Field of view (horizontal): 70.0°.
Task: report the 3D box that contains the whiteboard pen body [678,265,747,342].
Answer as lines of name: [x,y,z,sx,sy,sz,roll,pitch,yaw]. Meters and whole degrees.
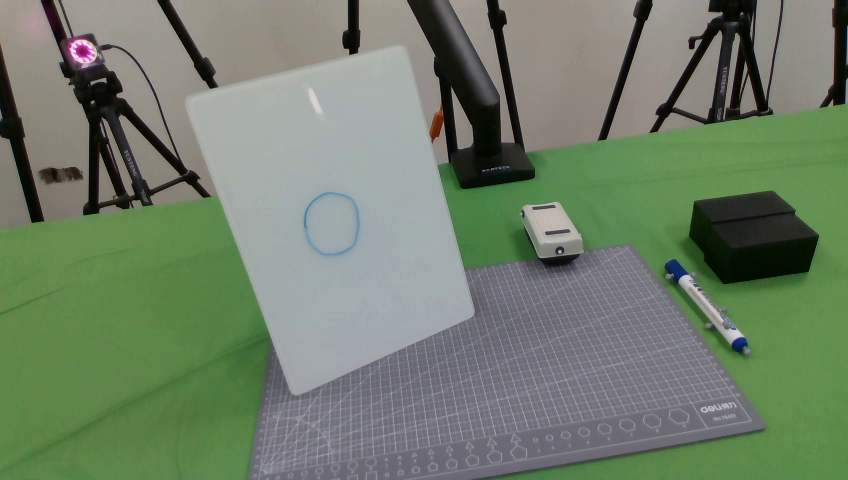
whiteboard pen body: [0.302,0.059,0.652,0.017,0.017,0.139,-10,33,-3]

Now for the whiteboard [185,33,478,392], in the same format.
whiteboard: [-0.099,-0.037,0.657,0.217,0.307,0.143,-21,17,-19]

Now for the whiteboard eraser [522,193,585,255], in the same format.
whiteboard eraser: [0.163,-0.021,0.772,0.055,0.042,0.111,-9,30,0]

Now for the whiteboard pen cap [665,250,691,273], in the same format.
whiteboard pen cap: [0.294,0.027,0.699,0.018,0.018,0.033,-10,32,-4]
